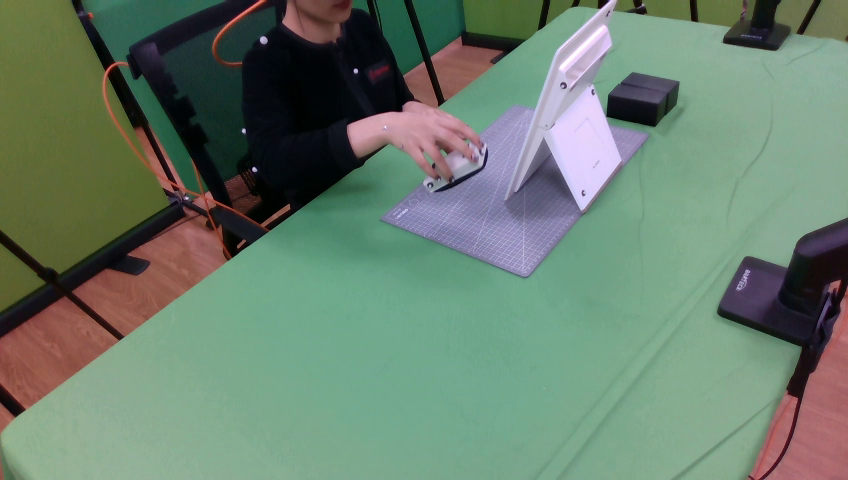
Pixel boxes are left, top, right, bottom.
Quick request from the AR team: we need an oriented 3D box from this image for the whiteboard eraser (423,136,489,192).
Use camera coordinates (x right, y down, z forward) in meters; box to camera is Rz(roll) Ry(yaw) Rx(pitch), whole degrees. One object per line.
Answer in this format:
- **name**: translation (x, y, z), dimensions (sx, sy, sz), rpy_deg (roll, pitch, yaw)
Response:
- **whiteboard eraser**: translation (0.052, -0.118, 0.971), dimensions (0.112, 0.042, 0.055), rpy_deg (-24, 39, 36)

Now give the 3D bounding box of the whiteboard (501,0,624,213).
- **whiteboard**: translation (0.271, -0.189, 0.977), dimensions (0.143, 0.306, 0.218), rpy_deg (34, 53, 16)
